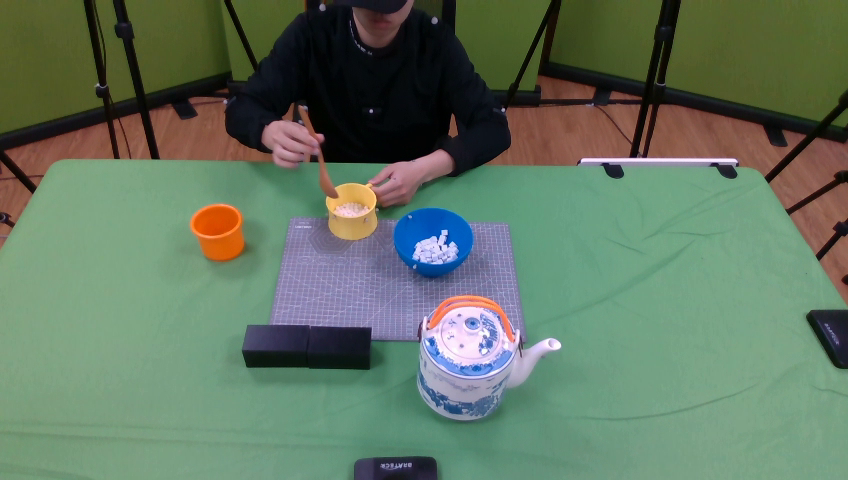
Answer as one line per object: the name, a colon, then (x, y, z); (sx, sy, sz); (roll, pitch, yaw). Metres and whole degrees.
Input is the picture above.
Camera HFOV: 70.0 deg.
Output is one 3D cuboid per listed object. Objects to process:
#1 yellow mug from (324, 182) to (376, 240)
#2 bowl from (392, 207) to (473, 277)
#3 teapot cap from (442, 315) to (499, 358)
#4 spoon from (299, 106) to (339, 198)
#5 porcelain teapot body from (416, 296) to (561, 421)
yellow mug: (-0.138, -0.068, 1.216); (0.099, 0.064, 0.130); (23, 50, 17)
bowl: (0.014, 0.016, 1.140); (0.151, 0.077, 0.150); (2, 46, -2)
teapot cap: (0.068, 0.133, 0.880); (0.085, 0.044, 0.084); (4, 45, -4)
spoon: (-0.193, -0.155, 1.101); (0.041, 0.195, 0.021); (19, 44, 38)
porcelain teapot body: (0.094, 0.164, 0.907); (0.205, 0.226, 0.144); (6, 45, 1)
